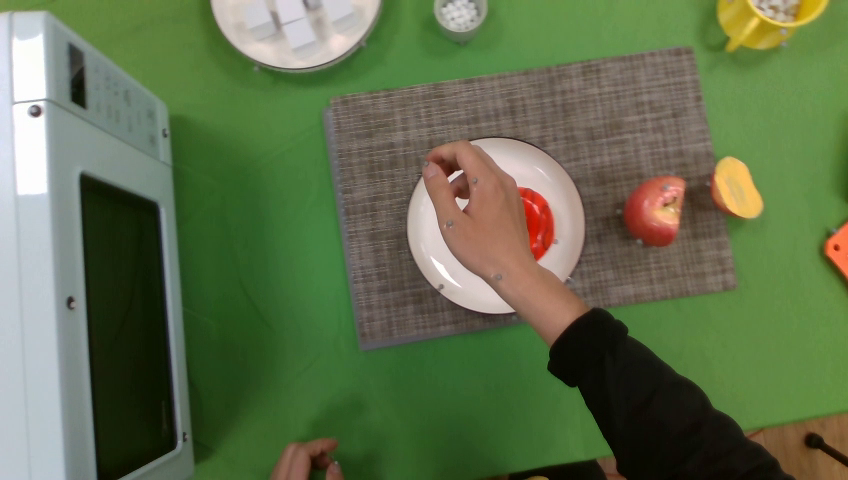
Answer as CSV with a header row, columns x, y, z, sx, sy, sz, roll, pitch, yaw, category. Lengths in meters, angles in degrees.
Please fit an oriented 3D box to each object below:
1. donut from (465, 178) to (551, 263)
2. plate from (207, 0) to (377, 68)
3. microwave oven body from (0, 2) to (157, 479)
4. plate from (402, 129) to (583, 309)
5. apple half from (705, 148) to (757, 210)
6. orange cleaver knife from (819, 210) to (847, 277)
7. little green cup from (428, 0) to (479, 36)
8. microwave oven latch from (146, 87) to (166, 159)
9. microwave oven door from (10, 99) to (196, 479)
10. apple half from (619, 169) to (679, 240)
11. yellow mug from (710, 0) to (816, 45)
x,y,z,sx,sy,sz,roll,pitch,yaw,category
0.096,-0.022,0.695,0.099,0.048,0.099,0,87,1,donut
-0.157,-0.306,0.736,0.208,0.039,0.207,0,85,0,plate
-0.447,0.049,0.592,0.326,0.260,0.440,-7,86,-1,microwave oven body
0.078,-0.024,0.707,0.209,0.038,0.208,0,85,1,plate
0.349,-0.066,0.708,0.082,0.033,0.080,12,65,-27,apple half
0.537,0.063,0.710,0.077,0.012,0.210,-24,84,-6,orange cleaver knife
0.036,-0.279,0.733,0.061,0.039,0.061,0,85,1,little green cup
-0.320,-0.134,0.703,0.030,0.029,0.079,-6,86,-1,microwave oven latch
-0.297,0.073,0.584,0.039,0.244,0.355,-7,85,0,microwave oven door
0.251,-0.042,0.690,0.053,0.075,0.080,10,89,5,apple half
0.394,-0.285,0.717,0.100,0.064,0.131,38,87,3,yellow mug
